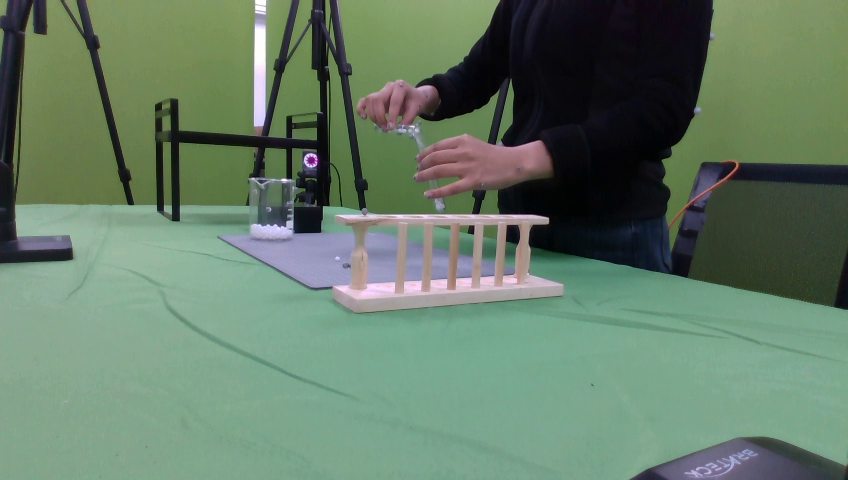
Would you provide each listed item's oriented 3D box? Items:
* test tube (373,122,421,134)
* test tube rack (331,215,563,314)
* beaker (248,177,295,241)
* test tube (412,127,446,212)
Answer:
[{"bbox_3d":[-0.048,-0.183,0.982,0.017,0.017,0.149,-2,12,-30],"label":"test tube"},{"bbox_3d":[0.031,0.019,0.625,0.243,0.085,0.066,-1,8,-28],"label":"test tube rack"},{"bbox_3d":[-0.252,-0.051,0.992,0.074,0.100,0.084,3,9,6],"label":"beaker"},{"bbox_3d":[0.007,-0.104,0.886,0.017,0.150,0.017,-13,-28,-7],"label":"test tube"}]
